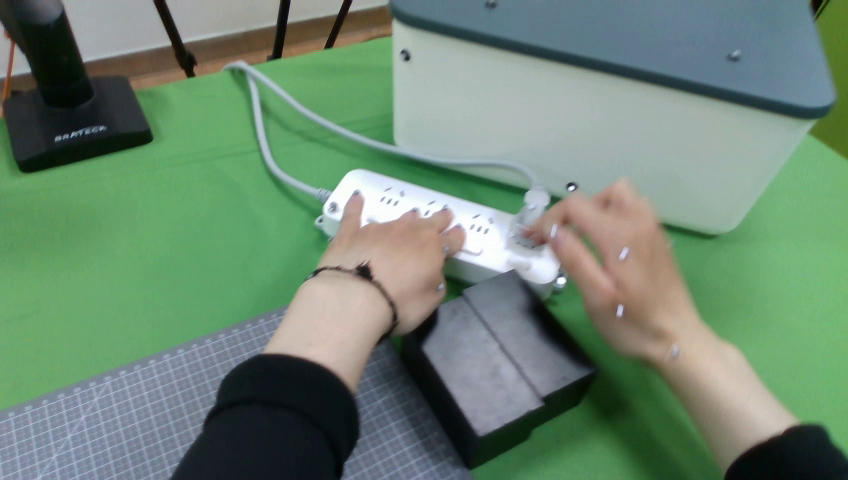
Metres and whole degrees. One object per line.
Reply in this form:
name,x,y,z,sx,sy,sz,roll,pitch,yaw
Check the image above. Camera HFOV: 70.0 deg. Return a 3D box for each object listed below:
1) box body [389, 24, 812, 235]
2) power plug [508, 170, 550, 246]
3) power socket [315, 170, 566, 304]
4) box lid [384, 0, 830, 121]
box body,0.165,-0.171,0.618,0.363,0.162,0.252,15,47,7
power plug,0.098,-0.020,0.525,0.035,0.053,0.072,23,44,18
power socket,0.016,-0.006,0.534,0.226,0.033,0.072,17,47,10
box lid,0.173,-0.221,0.564,0.371,0.015,0.261,15,48,8
